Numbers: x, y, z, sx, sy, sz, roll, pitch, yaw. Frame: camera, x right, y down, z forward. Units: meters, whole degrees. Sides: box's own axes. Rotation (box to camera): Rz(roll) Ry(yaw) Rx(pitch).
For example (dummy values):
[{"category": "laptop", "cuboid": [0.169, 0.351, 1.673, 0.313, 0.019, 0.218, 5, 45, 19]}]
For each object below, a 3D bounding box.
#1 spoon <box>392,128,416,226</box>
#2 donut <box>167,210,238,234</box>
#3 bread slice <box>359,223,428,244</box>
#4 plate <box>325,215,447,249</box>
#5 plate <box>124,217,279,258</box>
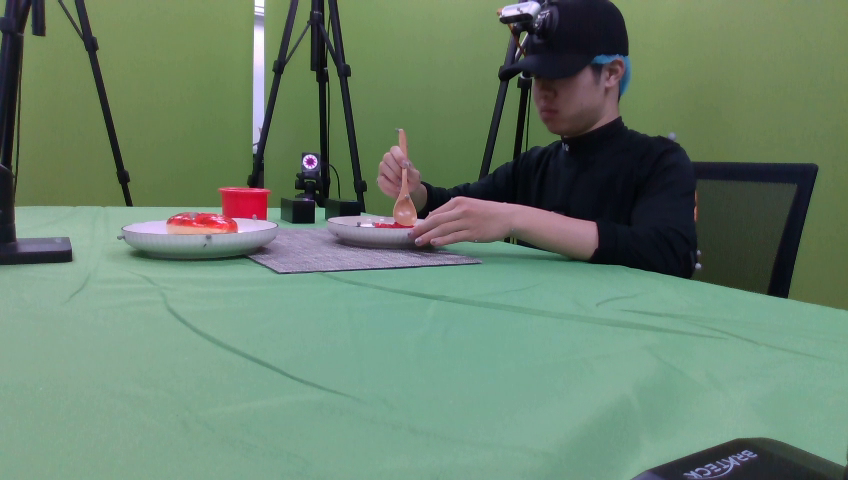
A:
[{"category": "spoon", "cuboid": [-0.035, -0.110, 1.035, 0.042, 0.193, 0.021, 2, -21, -10]}, {"category": "donut", "cuboid": [-0.321, -0.017, 0.882, 0.099, 0.048, 0.099, 3, 6, 0]}, {"category": "bread slice", "cuboid": [-0.062, -0.012, 1.035, 0.105, 0.019, 0.131, 0, 10, -19]}, {"category": "plate", "cuboid": [-0.066, -0.015, 1.035, 0.209, 0.038, 0.209, 3, 8, 0]}, {"category": "plate", "cuboid": [-0.315, -0.004, 0.871, 0.208, 0.039, 0.207, 1, 8, 0]}]
